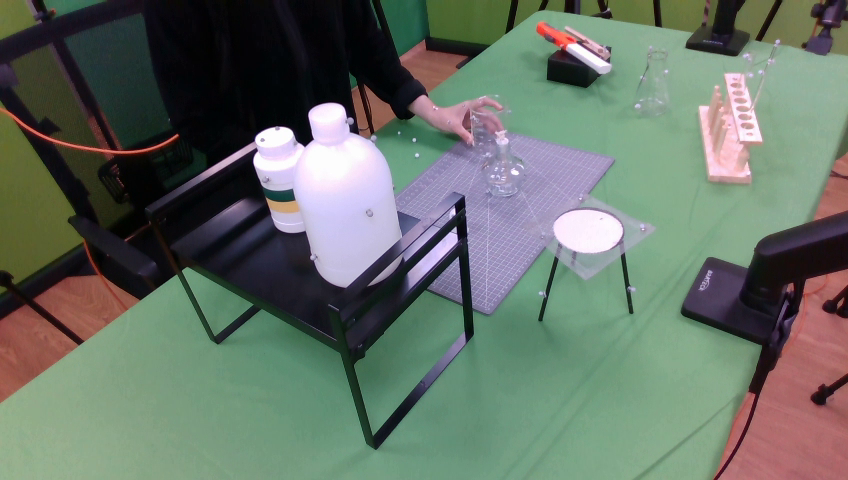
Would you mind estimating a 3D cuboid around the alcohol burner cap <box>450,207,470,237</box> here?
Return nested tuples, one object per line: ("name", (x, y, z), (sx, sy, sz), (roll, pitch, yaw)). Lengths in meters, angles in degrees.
("alcohol burner cap", (0.057, -0.032, 0.987), (0.034, 0.048, 0.033), (-4, 41, 4))

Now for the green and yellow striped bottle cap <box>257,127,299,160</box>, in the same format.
("green and yellow striped bottle cap", (-0.169, -0.112, 0.699), (0.045, 0.020, 0.045), (-5, 40, 5))

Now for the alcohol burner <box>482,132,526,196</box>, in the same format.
("alcohol burner", (0.137, -0.136, 1.042), (0.078, 0.119, 0.077), (-4, 43, 4))

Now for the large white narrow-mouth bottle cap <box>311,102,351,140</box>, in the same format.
("large white narrow-mouth bottle cap", (-0.089, -0.114, 0.579), (0.038, 0.024, 0.037), (-3, 40, 3))

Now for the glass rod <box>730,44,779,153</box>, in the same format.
("glass rod", (0.555, -0.233, 1.020), (0.008, 0.200, 0.008), (2, 39, -1))

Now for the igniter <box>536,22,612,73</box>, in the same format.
("igniter", (0.330, -0.439, 1.366), (0.057, 0.025, 0.274), (-12, 41, -20))

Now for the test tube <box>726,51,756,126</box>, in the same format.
("test tube", (0.568, -0.268, 1.086), (0.017, 0.151, 0.017), (-4, 46, 4))

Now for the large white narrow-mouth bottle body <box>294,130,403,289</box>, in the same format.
("large white narrow-mouth bottle body", (-0.082, -0.047, 0.634), (0.102, 0.195, 0.101), (-4, 40, 4))

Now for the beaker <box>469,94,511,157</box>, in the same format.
("beaker", (0.124, -0.216, 1.148), (0.074, 0.101, 0.083), (-21, 42, -16))

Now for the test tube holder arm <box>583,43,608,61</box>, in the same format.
("test tube holder arm", (0.379, -0.420, 1.341), (0.010, 0.015, 0.087), (-39, 41, 10))

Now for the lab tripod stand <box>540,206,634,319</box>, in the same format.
("lab tripod stand", (0.218, 0.034, 0.821), (0.148, 0.132, 0.147), (-4, 42, 4))

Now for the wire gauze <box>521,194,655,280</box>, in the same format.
("wire gauze", (0.207, -0.012, 0.772), (0.122, 0.011, 0.124), (-28, 44, -20))

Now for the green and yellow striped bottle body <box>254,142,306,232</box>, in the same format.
("green and yellow striped bottle body", (-0.165, -0.073, 0.732), (0.063, 0.120, 0.063), (-4, 41, 4))

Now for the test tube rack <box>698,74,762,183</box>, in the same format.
("test tube rack", (0.547, -0.208, 1.095), (0.066, 0.085, 0.242), (5, 42, 15))

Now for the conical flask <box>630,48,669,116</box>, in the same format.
("conical flask", (0.456, -0.317, 1.205), (0.075, 0.122, 0.075), (-4, 41, 4))

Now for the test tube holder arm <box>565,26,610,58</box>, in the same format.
("test tube holder arm", (0.369, -0.450, 1.373), (0.013, 0.015, 0.177), (-39, 41, 10))
